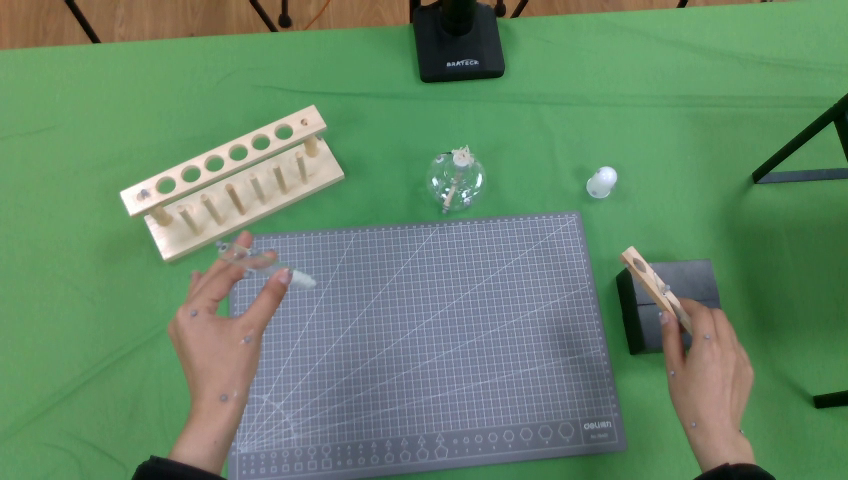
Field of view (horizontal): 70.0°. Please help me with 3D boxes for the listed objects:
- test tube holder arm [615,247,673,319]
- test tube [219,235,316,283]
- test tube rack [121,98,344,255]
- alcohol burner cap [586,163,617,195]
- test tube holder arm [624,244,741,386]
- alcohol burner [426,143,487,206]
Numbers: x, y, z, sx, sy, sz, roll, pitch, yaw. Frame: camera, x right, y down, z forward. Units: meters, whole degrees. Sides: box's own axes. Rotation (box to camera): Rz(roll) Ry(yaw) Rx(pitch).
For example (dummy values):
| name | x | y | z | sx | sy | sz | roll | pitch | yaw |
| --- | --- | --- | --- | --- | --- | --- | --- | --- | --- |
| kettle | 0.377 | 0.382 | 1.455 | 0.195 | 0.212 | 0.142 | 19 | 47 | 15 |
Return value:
| name | x | y | z | sx | sy | sz | roll | pitch | yaw |
| --- | --- | --- | --- | --- | --- | --- | --- | --- | --- |
| test tube holder arm | 0.235 | 0.045 | 0.642 | 0.010 | 0.015 | 0.087 | -35 | 78 | -8 |
| test tube | -0.130 | 0.020 | 0.526 | 0.017 | 0.151 | 0.017 | -3 | 77 | 14 |
| test tube rack | -0.224 | -0.076 | 0.738 | 0.242 | 0.085 | 0.066 | -28 | 74 | -12 |
| alcohol burner cap | 0.233 | -0.081 | 0.791 | 0.034 | 0.048 | 0.033 | 1 | 70 | -2 |
| test tube holder arm | 0.267 | 0.077 | 0.634 | 0.013 | 0.015 | 0.177 | -36 | 78 | -8 |
| alcohol burner | 0.041 | -0.089 | 0.744 | 0.078 | 0.119 | 0.077 | 1 | 72 | -4 |
